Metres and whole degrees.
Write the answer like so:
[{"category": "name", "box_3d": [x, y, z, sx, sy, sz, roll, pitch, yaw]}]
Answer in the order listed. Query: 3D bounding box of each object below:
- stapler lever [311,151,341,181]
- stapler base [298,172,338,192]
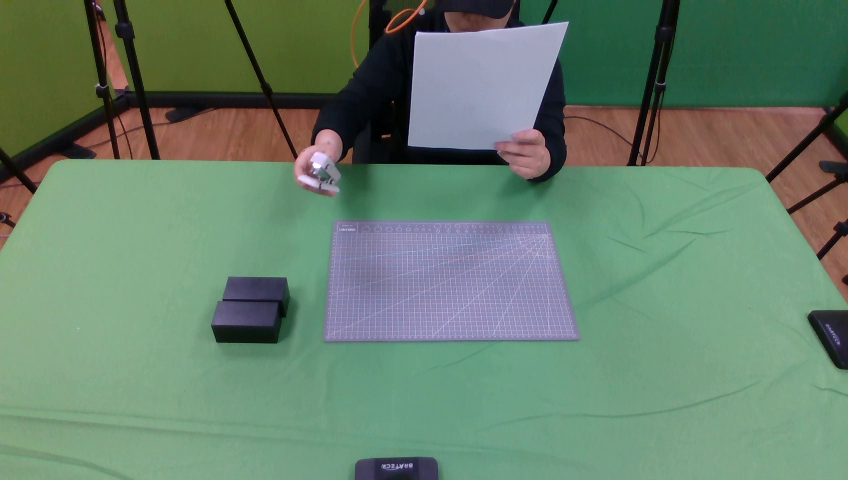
[{"category": "stapler lever", "box_3d": [-0.174, -0.132, 1.090, 0.027, 0.118, 0.040, 30, 93, 7]}, {"category": "stapler base", "box_3d": [-0.185, -0.110, 1.090, 0.041, 0.130, 0.024, 30, 93, 7]}]
